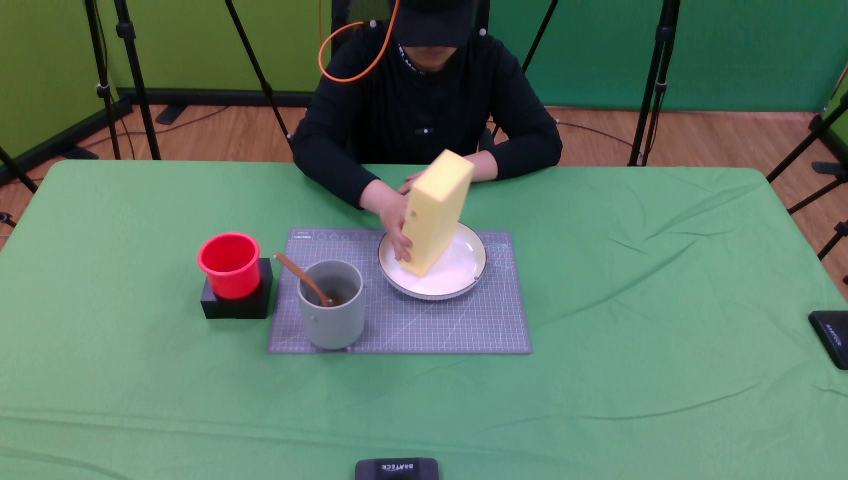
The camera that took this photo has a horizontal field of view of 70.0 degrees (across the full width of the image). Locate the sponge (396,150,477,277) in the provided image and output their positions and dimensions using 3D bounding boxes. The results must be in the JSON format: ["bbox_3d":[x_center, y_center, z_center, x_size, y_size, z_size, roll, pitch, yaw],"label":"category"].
[{"bbox_3d":[0.019,-0.044,1.087,0.061,0.207,0.118,31,50,13],"label":"sponge"}]

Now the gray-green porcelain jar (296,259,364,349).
[{"bbox_3d":[-0.152,0.111,1.003,0.106,0.127,0.105,2,46,-2],"label":"gray-green porcelain jar"}]

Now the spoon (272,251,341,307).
[{"bbox_3d":[-0.180,0.077,0.982,0.021,0.195,0.041,-9,46,28],"label":"spoon"}]

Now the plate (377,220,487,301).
[{"bbox_3d":[0.015,0.037,1.147,0.208,0.039,0.206,2,46,-2],"label":"plate"}]
